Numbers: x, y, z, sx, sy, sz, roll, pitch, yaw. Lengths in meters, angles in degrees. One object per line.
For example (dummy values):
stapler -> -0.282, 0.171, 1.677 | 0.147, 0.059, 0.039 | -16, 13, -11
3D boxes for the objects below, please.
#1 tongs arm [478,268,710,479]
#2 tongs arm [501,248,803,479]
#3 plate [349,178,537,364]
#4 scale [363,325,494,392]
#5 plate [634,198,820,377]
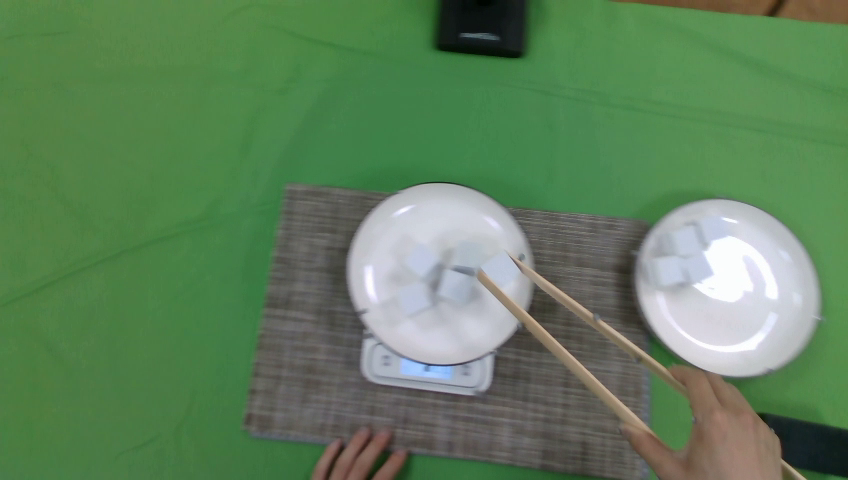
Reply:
tongs arm -> 0.187, 0.148, 0.542 | 0.028, 0.028, 0.384 | -38, 63, -20
tongs arm -> 0.204, 0.134, 0.548 | 0.381, 0.027, 0.050 | 37, 70, 24
plate -> 0.021, 0.034, 0.680 | 0.209, 0.038, 0.208 | 0, 77, 0
scale -> 0.013, 0.069, 0.706 | 0.148, 0.032, 0.200 | 7, 77, 2
plate -> 0.346, 0.055, 0.707 | 0.208, 0.039, 0.206 | 0, 76, 1
